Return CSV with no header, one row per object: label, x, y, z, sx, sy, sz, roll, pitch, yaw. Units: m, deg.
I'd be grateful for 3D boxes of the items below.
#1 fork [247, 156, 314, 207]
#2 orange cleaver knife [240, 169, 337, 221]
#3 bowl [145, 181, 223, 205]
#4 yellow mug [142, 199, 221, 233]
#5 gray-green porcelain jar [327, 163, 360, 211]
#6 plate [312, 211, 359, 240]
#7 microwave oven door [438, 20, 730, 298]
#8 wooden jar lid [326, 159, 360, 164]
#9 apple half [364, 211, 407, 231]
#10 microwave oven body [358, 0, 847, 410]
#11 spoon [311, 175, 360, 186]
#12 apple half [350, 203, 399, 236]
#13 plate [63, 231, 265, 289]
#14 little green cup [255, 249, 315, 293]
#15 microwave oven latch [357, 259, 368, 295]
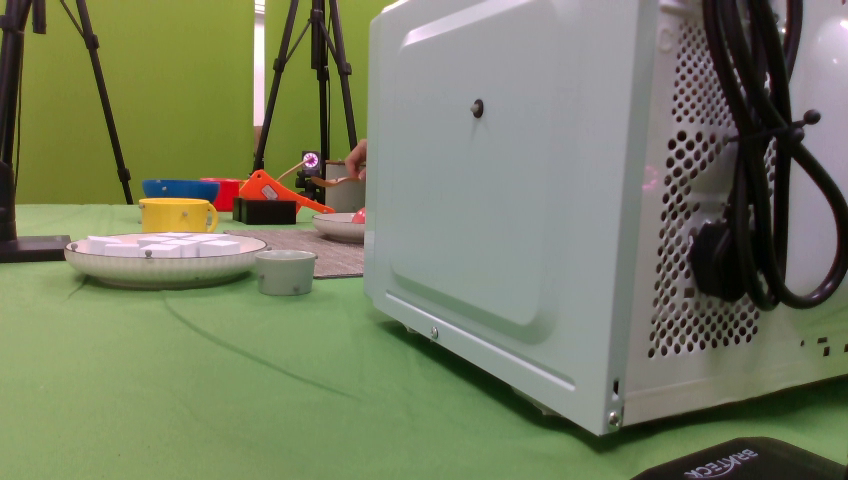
fork,-0.360,-0.147,1.523,0.207,0.018,0.028,-43,16,-7
orange cleaver knife,-0.287,-0.082,1.299,0.212,0.077,0.012,25,-2,-31
bowl,-0.499,-0.081,1.261,0.151,0.077,0.151,2,7,0
yellow mug,-0.372,-0.030,0.948,0.099,0.064,0.131,6,7,30
gray-green porcelain jar,-0.187,-0.125,1.490,0.106,0.126,0.106,2,8,0
plate,-0.091,-0.026,1.063,0.209,0.038,0.209,2,7,0
microwave oven door,0.181,-0.076,0.618,0.358,0.243,0.039,-2,8,-28
wooden jar lid,-0.185,-0.187,1.481,0.108,0.020,0.108,4,6,0
apple half,-0.068,-0.037,1.103,0.081,0.033,0.081,-1,10,0
microwave oven body,0.210,-0.051,0.471,0.444,0.260,0.324,-1,7,-28
spoon,-0.146,-0.121,1.203,0.041,0.021,0.195,9,13,37
apple half,-0.082,-0.036,1.024,0.081,0.053,0.074,-3,11,-34
plate,-0.288,0.021,0.687,0.208,0.039,0.207,2,8,0
little green cup,-0.144,0.031,0.627,0.061,0.038,0.061,2,6,0
microwave oven latch,-0.019,0.031,0.529,0.079,0.029,0.030,-1,7,-26
